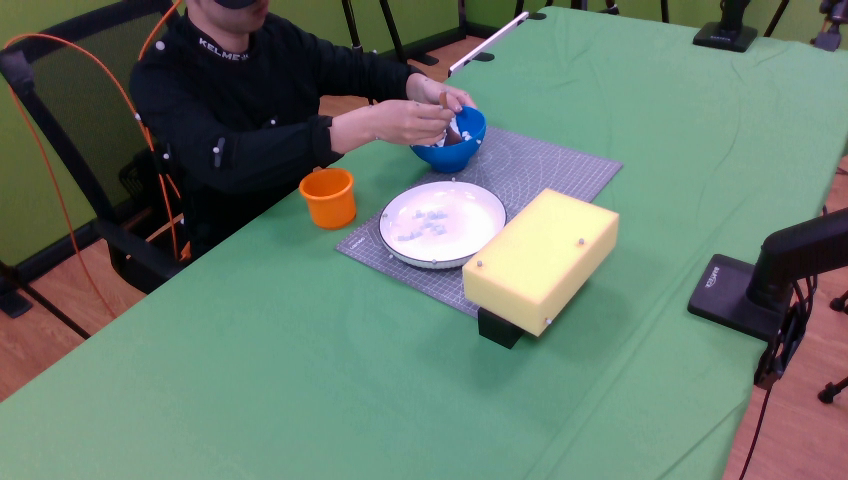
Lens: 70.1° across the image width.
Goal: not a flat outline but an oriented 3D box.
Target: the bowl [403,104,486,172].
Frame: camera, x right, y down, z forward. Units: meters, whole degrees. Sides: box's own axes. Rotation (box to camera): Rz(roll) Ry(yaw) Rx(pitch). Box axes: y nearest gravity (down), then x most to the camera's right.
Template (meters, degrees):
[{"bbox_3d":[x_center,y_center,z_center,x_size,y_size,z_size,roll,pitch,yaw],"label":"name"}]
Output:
[{"bbox_3d":[0.043,-0.178,1.109,0.151,0.077,0.150,-6,41,6],"label":"bowl"}]

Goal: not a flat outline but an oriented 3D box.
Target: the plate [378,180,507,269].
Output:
[{"bbox_3d":[0.031,-0.022,0.974,0.209,0.038,0.208,-4,40,4],"label":"plate"}]

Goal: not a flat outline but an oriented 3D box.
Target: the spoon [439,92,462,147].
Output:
[{"bbox_3d":[0.040,-0.200,1.042,0.041,0.195,0.021,-26,67,-1],"label":"spoon"}]

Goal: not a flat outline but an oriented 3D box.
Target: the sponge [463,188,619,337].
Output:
[{"bbox_3d":[0.160,0.022,0.814,0.117,0.061,0.207,24,50,32],"label":"sponge"}]
